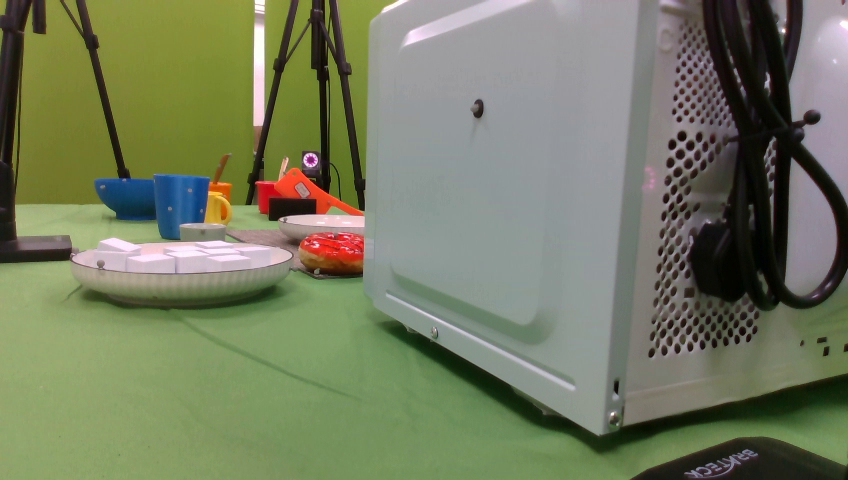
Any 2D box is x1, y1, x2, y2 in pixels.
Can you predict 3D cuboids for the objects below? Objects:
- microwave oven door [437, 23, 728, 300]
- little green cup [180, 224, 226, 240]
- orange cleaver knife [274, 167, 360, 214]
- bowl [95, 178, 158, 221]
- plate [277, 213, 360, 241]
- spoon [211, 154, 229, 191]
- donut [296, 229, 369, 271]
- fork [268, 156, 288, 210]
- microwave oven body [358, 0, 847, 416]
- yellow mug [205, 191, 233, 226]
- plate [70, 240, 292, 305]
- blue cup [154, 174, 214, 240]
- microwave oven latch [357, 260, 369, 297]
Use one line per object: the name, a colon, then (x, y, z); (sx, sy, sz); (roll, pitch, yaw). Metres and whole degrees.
microwave oven door: (0.181, -0.072, 0.621); (0.358, 0.243, 0.039); (-2, 8, -29)
little green cup: (-0.309, -0.001, 0.846); (0.061, 0.038, 0.061); (2, 8, 0)
orange cleaver knife: (-0.238, -0.091, 1.381); (0.212, 0.077, 0.012); (31, 0, -19)
bowl: (-0.576, -0.081, 1.217); (0.151, 0.077, 0.151); (3, 8, 0)
plate: (-0.135, -0.017, 0.993); (0.209, 0.038, 0.209); (2, 8, 0)
spoon: (-0.431, -0.115, 1.253); (0.042, 0.193, 0.021); (-3, 54, -33)
donut: (-0.106, 0.014, 0.739); (0.099, 0.048, 0.099); (4, 8, 0)
fork: (-0.360, -0.144, 1.507); (0.028, 0.018, 0.207); (1, 49, 0)
microwave oven body: (0.211, -0.047, 0.474); (0.444, 0.260, 0.324); (-1, 8, -28)
yellow mug: (-0.415, -0.057, 1.132); (0.130, 0.064, 0.100); (6, 8, 16)
plate: (-0.242, 0.031, 0.618); (0.208, 0.039, 0.207); (2, 8, 0)
blue cup: (-0.390, -0.053, 0.978); (0.093, 0.100, 0.092); (3, 6, 0)
microwave oven latch: (-0.019, 0.033, 0.531); (0.079, 0.029, 0.030); (-1, 7, -26)
